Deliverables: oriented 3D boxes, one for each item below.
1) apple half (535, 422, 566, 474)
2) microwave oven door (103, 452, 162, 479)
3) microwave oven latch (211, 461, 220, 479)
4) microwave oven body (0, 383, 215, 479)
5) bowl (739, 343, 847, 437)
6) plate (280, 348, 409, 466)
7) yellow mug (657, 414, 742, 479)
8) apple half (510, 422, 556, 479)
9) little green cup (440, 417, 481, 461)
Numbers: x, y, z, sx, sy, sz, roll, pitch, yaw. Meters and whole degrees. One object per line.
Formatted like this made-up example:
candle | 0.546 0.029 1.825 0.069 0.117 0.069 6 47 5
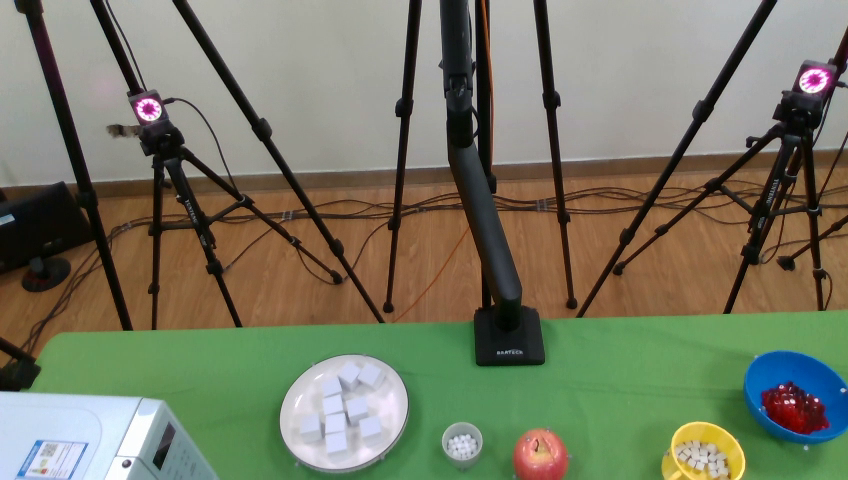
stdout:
apple half | 0.191 0.304 0.895 0.033 0.082 0.080 -19 47 -7
microwave oven door | -0.349 0.449 0.656 0.039 0.246 0.352 0 45 6
microwave oven latch | -0.322 0.365 0.881 0.030 0.030 0.078 3 46 7
microwave oven body | -0.490 0.421 0.704 0.326 0.263 0.437 1 46 5
bowl | 0.553 0.241 0.922 0.151 0.077 0.150 -3 46 3
plate | -0.126 0.271 0.983 0.207 0.039 0.205 -2 45 3
yellow mug | 0.383 0.318 0.870 0.131 0.064 0.099 -25 49 -17
apple half | 0.154 0.316 0.889 0.053 0.075 0.080 -19 50 -7
little green cup | 0.057 0.308 0.930 0.061 0.039 0.061 -3 45 3
